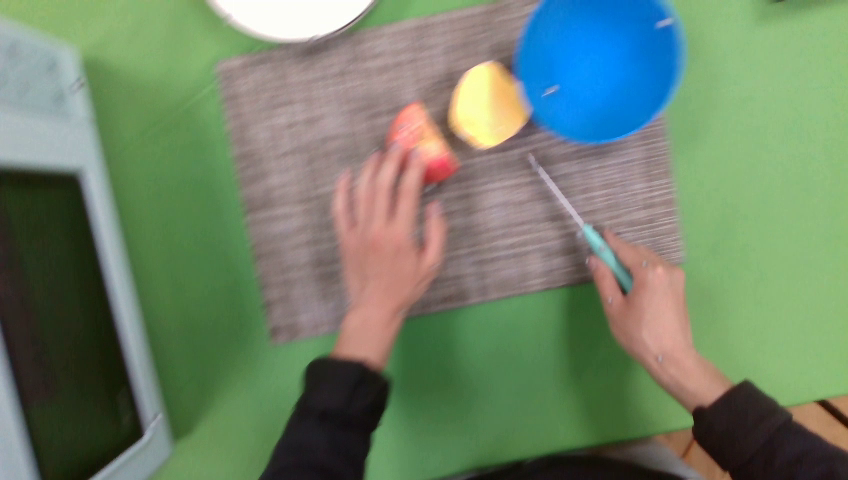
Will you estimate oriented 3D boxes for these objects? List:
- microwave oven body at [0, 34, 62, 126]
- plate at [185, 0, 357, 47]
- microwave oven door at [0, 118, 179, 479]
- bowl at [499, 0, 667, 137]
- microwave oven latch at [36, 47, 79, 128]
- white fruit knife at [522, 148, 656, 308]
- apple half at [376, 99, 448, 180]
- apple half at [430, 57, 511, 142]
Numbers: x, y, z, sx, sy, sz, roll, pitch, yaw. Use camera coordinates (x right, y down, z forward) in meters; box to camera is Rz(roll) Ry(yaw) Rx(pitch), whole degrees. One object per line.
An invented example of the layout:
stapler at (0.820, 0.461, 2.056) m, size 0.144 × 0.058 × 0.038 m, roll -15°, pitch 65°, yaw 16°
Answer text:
microwave oven body at (-0.482, 0.064, 0.538) m, size 0.326 × 0.259 × 0.442 m, roll -14°, pitch 95°, yaw 2°
plate at (-0.152, -0.297, 0.609) m, size 0.208 × 0.039 × 0.208 m, roll 0°, pitch 96°, yaw 1°
microwave oven door at (-0.330, 0.070, 0.530) m, size 0.039 × 0.243 × 0.356 m, roll -14°, pitch 95°, yaw 3°
bowl at (0.146, -0.172, 0.589) m, size 0.151 × 0.076 × 0.151 m, roll 0°, pitch 96°, yaw 2°
microwave oven latch at (-0.378, -0.151, 0.611) m, size 0.030 × 0.029 × 0.079 m, roll -14°, pitch 96°, yaw 2°
white fruit knife at (0.165, -0.014, 0.614) m, size 0.016 × 0.027 × 0.207 m, roll -39°, pitch 83°, yaw 7°
apple half at (-0.018, -0.092, 0.604) m, size 0.053 × 0.074 × 0.081 m, roll -35°, pitch 91°, yaw 9°
apple half at (0.044, -0.140, 0.613) m, size 0.081 × 0.032 × 0.081 m, roll 0°, pitch 103°, yaw 2°
